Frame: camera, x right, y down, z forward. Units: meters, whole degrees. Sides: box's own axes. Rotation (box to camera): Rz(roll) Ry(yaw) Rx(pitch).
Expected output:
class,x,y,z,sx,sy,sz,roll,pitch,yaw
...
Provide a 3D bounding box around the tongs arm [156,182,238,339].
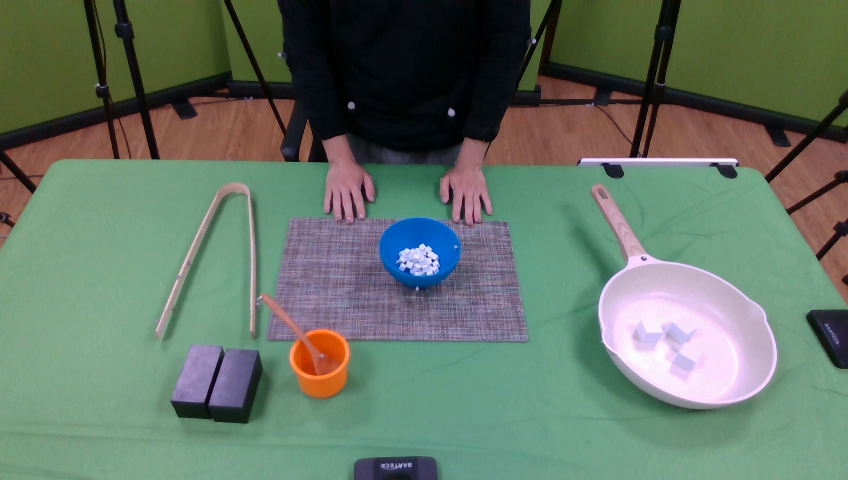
class,x,y,z,sx,sy,sz,roll,pitch,yaw
tongs arm,-0.415,0.023,1.134,0.051,0.026,0.382,3,45,-3

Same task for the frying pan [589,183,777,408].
class,x,y,z,sx,sy,sz,roll,pitch,yaw
frying pan,0.412,0.079,1.096,0.307,0.103,0.484,-8,56,-13

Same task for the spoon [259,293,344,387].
class,x,y,z,sx,sy,sz,roll,pitch,yaw
spoon,-0.191,0.155,0.947,0.021,0.194,0.041,-13,28,50

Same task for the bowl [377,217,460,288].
class,x,y,z,sx,sy,sz,roll,pitch,yaw
bowl,-0.011,0.036,1.118,0.151,0.077,0.150,2,46,-2

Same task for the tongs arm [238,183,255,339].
class,x,y,z,sx,sy,sz,roll,pitch,yaw
tongs arm,-0.334,0.024,1.145,0.028,0.028,0.385,-9,48,-9
